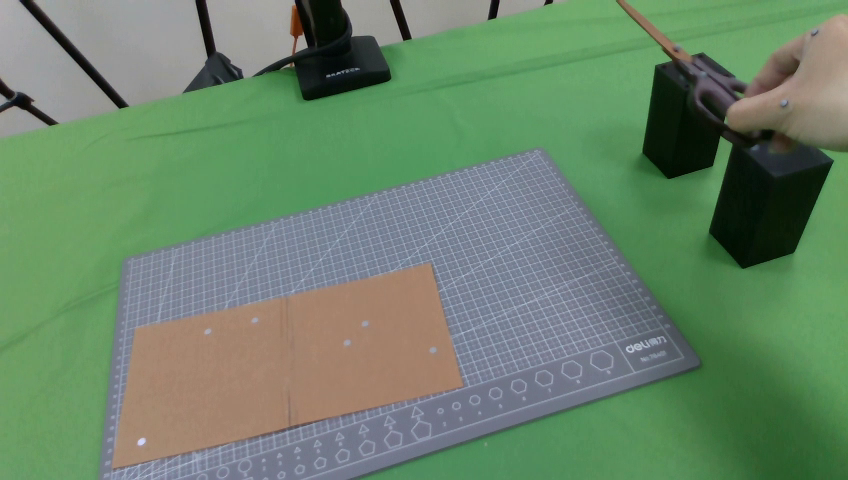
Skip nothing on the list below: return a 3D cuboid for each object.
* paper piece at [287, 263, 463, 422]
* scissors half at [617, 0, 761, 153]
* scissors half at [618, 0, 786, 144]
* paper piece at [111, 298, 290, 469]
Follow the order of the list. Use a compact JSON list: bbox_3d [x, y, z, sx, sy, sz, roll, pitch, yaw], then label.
[{"bbox_3d":[-0.047,0.079,0.503,0.136,0.004,0.134,-11,43,-3],"label":"paper piece"},{"bbox_3d":[0.185,-0.131,0.448,0.040,0.013,0.173,-10,59,-27],"label":"scissors half"},{"bbox_3d":[0.202,-0.137,0.457,0.040,0.013,0.174,-29,68,-29],"label":"scissors half"},{"bbox_3d":[-0.177,0.109,0.496,0.138,0.009,0.134,-12,41,-2],"label":"paper piece"}]
